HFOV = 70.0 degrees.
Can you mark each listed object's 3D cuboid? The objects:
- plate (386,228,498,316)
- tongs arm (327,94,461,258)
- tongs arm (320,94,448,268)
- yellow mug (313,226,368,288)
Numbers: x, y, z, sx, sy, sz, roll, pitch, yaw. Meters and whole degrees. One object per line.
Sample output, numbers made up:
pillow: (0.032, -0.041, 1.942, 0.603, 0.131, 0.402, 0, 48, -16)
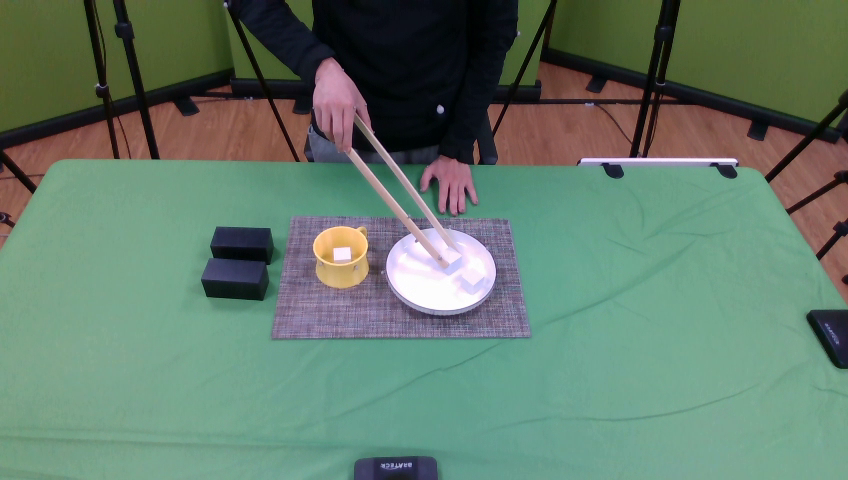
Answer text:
plate: (0.033, 0.062, 1.126, 0.208, 0.039, 0.206, 2, 46, -2)
tongs arm: (-0.054, -0.121, 1.143, 0.028, 0.028, 0.387, -37, 90, -25)
tongs arm: (-0.071, -0.108, 1.131, 0.050, 0.026, 0.385, -42, 92, -29)
yellow mug: (-0.146, 0.021, 1.132, 0.099, 0.064, 0.130, 24, 49, 19)
